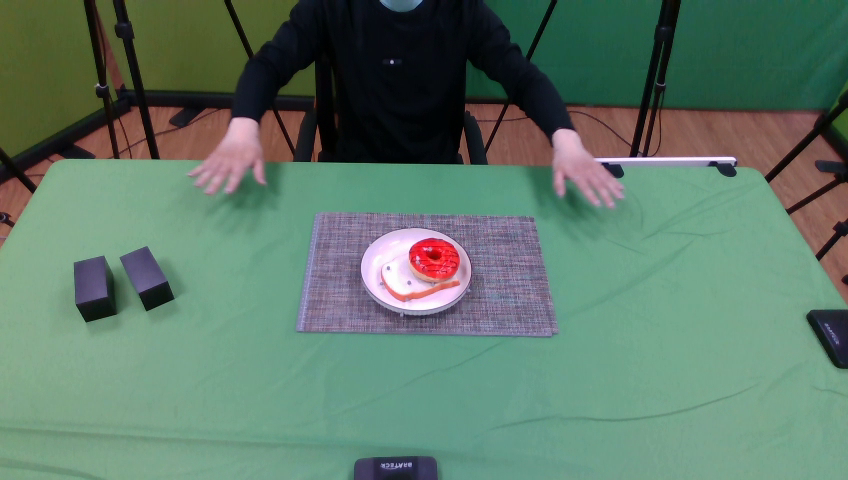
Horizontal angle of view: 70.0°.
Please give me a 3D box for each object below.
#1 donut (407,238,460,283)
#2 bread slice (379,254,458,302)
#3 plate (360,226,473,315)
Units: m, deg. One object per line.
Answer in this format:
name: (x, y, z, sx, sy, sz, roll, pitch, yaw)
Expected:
donut: (0.017, 0.037, 1.109, 0.099, 0.048, 0.098, 4, 44, -4)
bread slice: (-0.014, 0.064, 1.123, 0.132, 0.019, 0.104, -17, 50, -22)
plate: (-0.013, 0.059, 1.124, 0.208, 0.039, 0.206, 2, 46, -2)
